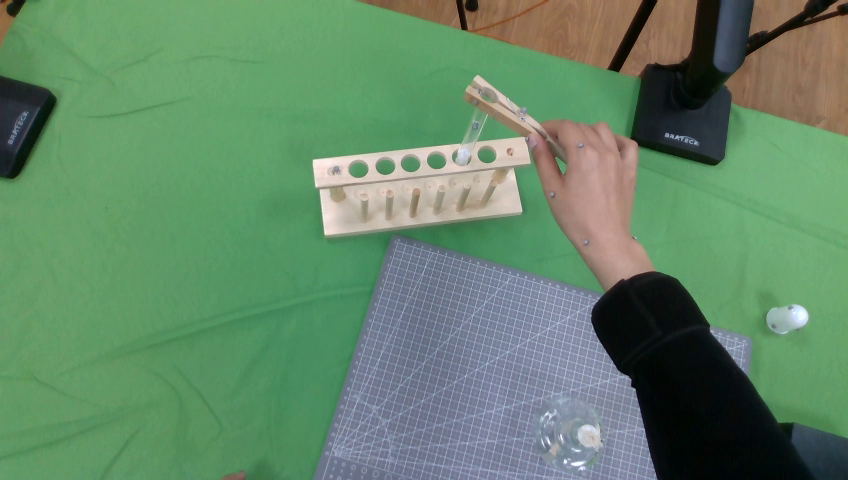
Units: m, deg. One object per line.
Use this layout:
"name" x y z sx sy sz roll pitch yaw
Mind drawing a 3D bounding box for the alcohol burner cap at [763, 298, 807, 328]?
"alcohol burner cap" 0.431 0.085 0.720 0.034 0.048 0.033 1 73 -3

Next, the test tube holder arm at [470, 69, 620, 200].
"test tube holder arm" 0.114 -0.100 0.572 0.178 0.015 0.013 40 67 2

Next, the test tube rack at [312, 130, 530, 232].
"test tube rack" -0.002 -0.068 0.708 0.243 0.085 0.066 -7 74 -6

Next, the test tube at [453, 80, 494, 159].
"test tube" 0.048 -0.117 0.636 0.017 0.151 0.017 3 68 -7

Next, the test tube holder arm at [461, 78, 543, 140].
"test tube holder arm" 0.075 -0.123 0.571 0.088 0.015 0.010 32 66 -1

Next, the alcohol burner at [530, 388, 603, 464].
"alcohol burner" 0.152 0.193 0.628 0.078 0.119 0.077 1 75 -4
